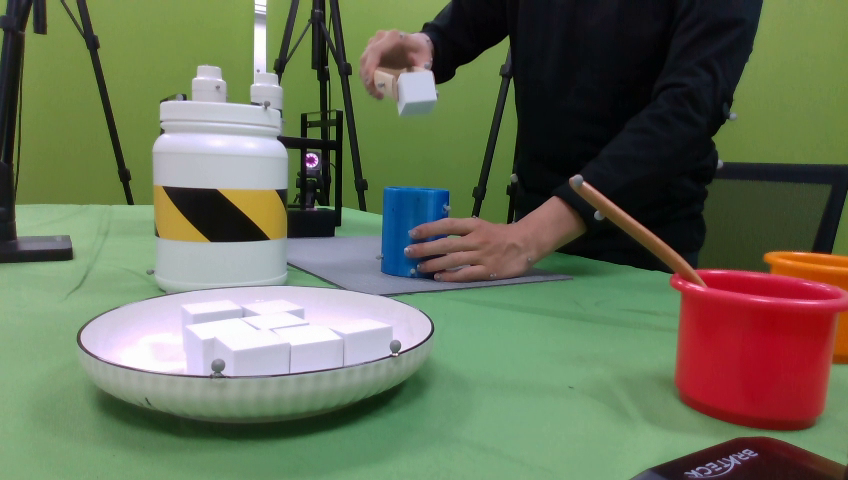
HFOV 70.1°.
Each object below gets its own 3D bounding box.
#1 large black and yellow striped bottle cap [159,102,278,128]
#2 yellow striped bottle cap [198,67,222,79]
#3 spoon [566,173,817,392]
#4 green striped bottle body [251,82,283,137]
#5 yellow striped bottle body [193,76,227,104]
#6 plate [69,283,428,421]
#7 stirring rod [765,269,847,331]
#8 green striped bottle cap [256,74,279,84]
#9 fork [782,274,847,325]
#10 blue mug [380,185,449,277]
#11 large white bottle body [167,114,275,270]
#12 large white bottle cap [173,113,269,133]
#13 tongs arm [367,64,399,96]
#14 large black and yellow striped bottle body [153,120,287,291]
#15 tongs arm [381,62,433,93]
[{"bbox_3d":[-0.207,-0.125,0.615,0.115,0.019,0.115,2,6,0],"label":"large black and yellow striped bottle cap"},{"bbox_3d":[-0.411,-0.320,1.163,0.044,0.018,0.044,0,6,0],"label":"yellow striped bottle cap"},{"bbox_3d":[0.161,0.024,0.370,0.193,0.021,0.042,47,18,3],"label":"spoon"},{"bbox_3d":[-0.317,-0.270,1.220,0.063,0.119,0.063,2,7,0],"label":"green striped bottle body"},{"bbox_3d":[-0.414,-0.268,1.169,0.063,0.120,0.063,2,7,0],"label":"yellow striped bottle body"},{"bbox_3d":[-0.102,0.066,0.380,0.208,0.039,0.207,2,7,0],"label":"plate"},{"bbox_3d":[0.352,0.020,0.484,0.176,0.006,0.014,-40,-6,13],"label":"stirring rod"},{"bbox_3d":[-0.314,-0.321,1.214,0.044,0.020,0.044,2,8,0],"label":"green striped bottle cap"},{"bbox_3d":[0.332,0.018,0.443,0.028,0.018,0.207,-1,-36,-15],"label":"fork"},{"bbox_3d":[-0.019,-0.016,0.763,0.083,0.106,0.116,-2,8,-25],"label":"blue mug"},{"bbox_3d":[-0.257,-0.063,0.771,0.131,0.184,0.130,2,7,0],"label":"large white bottle body"},{"bbox_3d":[-0.254,-0.146,0.760,0.115,0.018,0.115,1,7,0],"label":"large white bottle cap"},{"bbox_3d":[-0.054,-0.215,0.798,0.028,0.028,0.386,-11,18,-5],"label":"tongs arm"},{"bbox_3d":[-0.208,-0.043,0.626,0.131,0.184,0.130,2,7,0],"label":"large black and yellow striped bottle body"},{"bbox_3d":[-0.030,-0.218,0.801,0.051,0.026,0.384,-6,18,-2],"label":"tongs arm"}]
